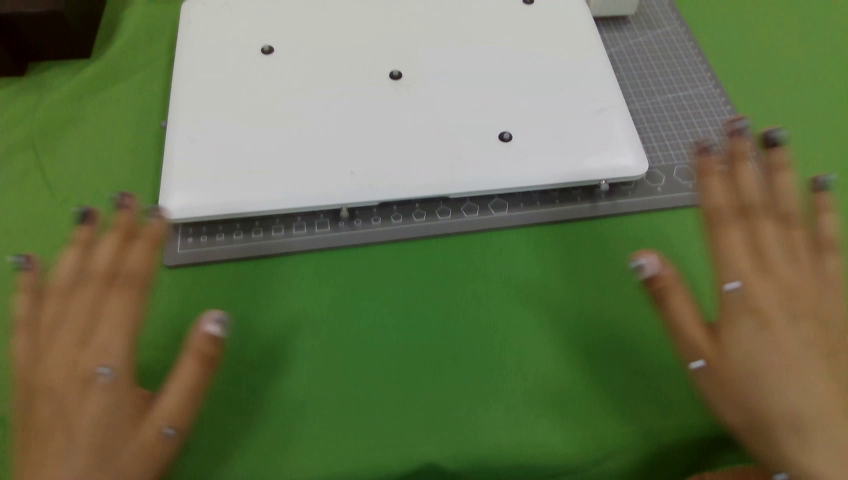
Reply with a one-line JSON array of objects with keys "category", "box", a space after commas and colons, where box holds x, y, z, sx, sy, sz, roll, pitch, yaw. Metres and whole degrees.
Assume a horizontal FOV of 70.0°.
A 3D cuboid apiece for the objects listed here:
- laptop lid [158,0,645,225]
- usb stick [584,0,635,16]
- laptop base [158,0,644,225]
[{"category": "laptop lid", "box": [-0.024, -0.128, 0.483, 0.357, 0.013, 0.239, -5, 61, -4]}, {"category": "usb stick", "box": [0.157, -0.217, 0.542, 0.059, 0.027, 0.021, -5, 60, -2]}, {"category": "laptop base", "box": [-0.024, -0.124, 0.494, 0.355, 0.023, 0.233, -6, 62, -5]}]
